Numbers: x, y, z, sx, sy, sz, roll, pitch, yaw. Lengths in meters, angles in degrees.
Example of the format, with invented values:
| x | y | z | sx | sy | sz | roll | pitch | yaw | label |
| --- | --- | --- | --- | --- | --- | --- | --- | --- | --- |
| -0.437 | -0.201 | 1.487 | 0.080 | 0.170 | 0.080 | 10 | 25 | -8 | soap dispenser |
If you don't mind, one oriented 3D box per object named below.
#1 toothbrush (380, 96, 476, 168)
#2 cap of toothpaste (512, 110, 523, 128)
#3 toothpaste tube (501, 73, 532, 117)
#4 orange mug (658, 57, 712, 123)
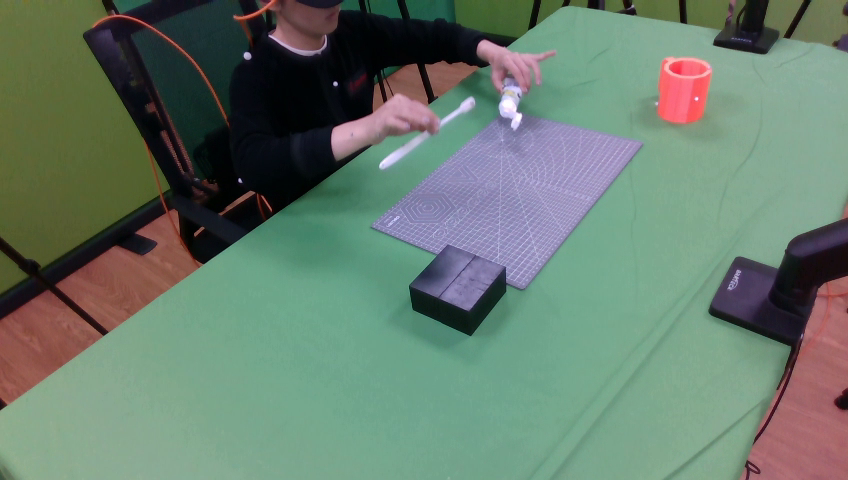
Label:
| x | y | z | sx | sy | sz | roll | pitch | yaw | label |
| --- | --- | --- | --- | --- | --- | --- | --- | --- | --- |
| 0.004 | -0.164 | 0.927 | 0.181 | 0.014 | 0.016 | -34 | 29 | 18 | toothbrush |
| 0.178 | -0.232 | 1.154 | 0.011 | 0.037 | 0.037 | 21 | 41 | -9 | cap of toothpaste |
| 0.182 | -0.299 | 1.216 | 0.055 | 0.034 | 0.164 | 8 | 44 | 10 | toothpaste tube |
| 0.504 | -0.304 | 1.193 | 0.083 | 0.101 | 0.125 | -13 | 45 | -5 | orange mug |
